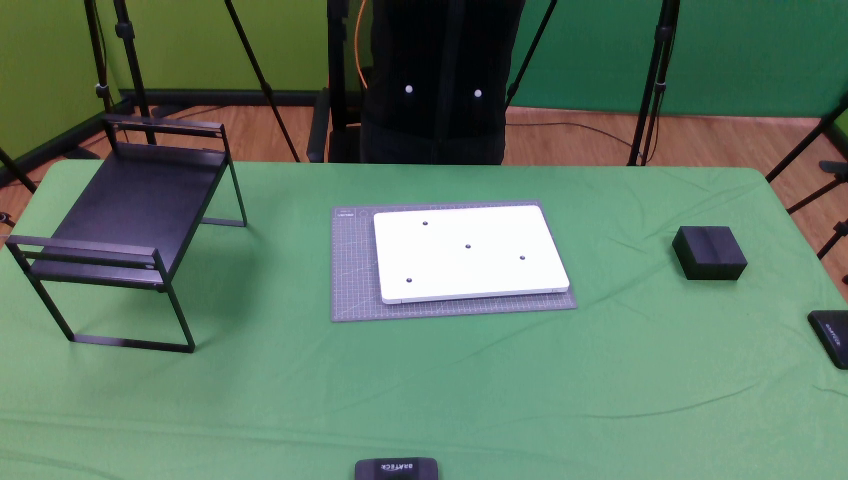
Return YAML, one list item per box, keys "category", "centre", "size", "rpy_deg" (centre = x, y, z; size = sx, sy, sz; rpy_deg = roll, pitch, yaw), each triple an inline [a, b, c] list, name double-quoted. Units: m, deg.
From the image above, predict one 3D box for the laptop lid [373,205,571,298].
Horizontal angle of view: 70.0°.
- category: "laptop lid"
  centre: [0.084, 0.015, 1.173]
  size: [0.357, 0.013, 0.240]
  rpy_deg: [-2, 44, -6]

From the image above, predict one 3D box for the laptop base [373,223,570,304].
- category: "laptop base"
  centre: [0.084, 0.025, 1.180]
  size: [0.355, 0.023, 0.234]
  rpy_deg: [-3, 43, -7]
